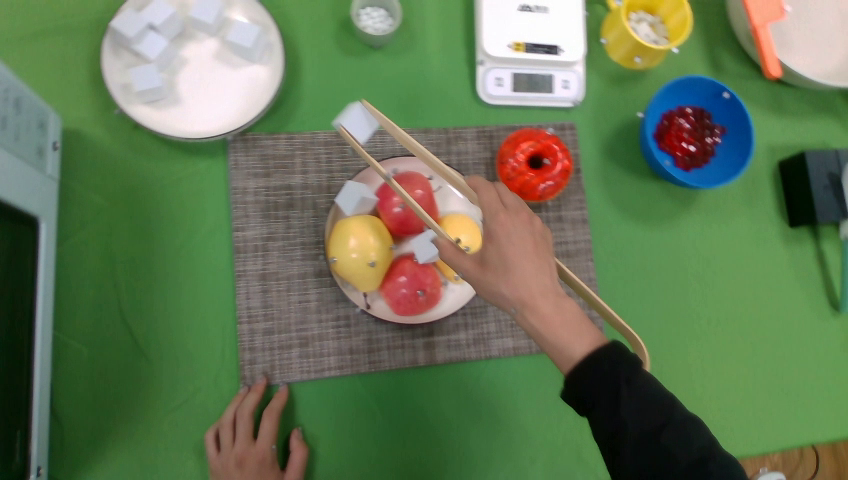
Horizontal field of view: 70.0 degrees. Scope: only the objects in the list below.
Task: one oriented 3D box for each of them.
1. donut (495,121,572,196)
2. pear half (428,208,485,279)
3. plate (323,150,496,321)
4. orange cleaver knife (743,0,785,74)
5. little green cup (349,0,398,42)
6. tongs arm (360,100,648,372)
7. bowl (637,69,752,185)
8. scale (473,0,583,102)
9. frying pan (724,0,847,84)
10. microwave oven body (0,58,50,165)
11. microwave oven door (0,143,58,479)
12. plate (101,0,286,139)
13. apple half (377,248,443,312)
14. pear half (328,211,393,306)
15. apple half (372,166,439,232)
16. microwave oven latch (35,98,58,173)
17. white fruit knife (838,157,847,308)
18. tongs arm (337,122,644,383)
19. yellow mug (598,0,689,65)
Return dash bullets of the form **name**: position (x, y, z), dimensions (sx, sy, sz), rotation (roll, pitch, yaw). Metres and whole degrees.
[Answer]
- **donut**: position (0.139, -0.104, 0.774), dimensions (0.099, 0.048, 0.098), rotation (1, 82, -6)
- **pear half**: position (0.039, 0.003, 0.737), dimensions (0.070, 0.031, 0.087), rotation (-4, 80, 4)
- **plate**: position (-0.017, -0.005, 0.736), dimensions (0.210, 0.038, 0.208), rotation (2, 81, -10)
- **orange cleaver knife**: position (0.451, -0.326, 0.815), dimensions (0.077, 0.012, 0.210), rotation (-14, 84, -15)
- **little green cup**: position (-0.066, -0.287, 0.775), dimensions (0.062, 0.038, 0.061), rotation (2, 80, -9)
- **tongs arm**: position (0.076, -0.010, 0.609), dimensions (0.386, 0.028, 0.028), rotation (42, 72, 5)
- **bowl**: position (0.341, -0.138, 0.801), dimensions (0.152, 0.077, 0.151), rotation (1, 82, -9)
- **scale**: position (0.140, -0.286, 0.813), dimensions (0.149, 0.031, 0.200), rotation (0, 82, -9)
- **frying pan**: position (0.616, -0.271, 0.854), dimensions (0.307, 0.103, 0.485), rotation (-31, 79, -12)
- **microwave oven body**: position (-0.545, 0.047, 0.525), dimensions (0.327, 0.260, 0.440), rotation (-2, 82, -10)
- **microwave oven door**: position (-0.398, 0.084, 0.539), dimensions (0.039, 0.244, 0.354), rotation (-2, 81, -9)
- **plate**: position (-0.272, -0.218, 0.730), dimensions (0.208, 0.039, 0.207), rotation (2, 81, -9)
- **apple half**: position (-0.015, 0.047, 0.719), dimensions (0.081, 0.033, 0.081), rotation (3, 75, -10)
- **pear half**: position (-0.068, 0.021, 0.701), dimensions (0.076, 0.056, 0.109), rotation (-10, 85, -19)
- **apple half**: position (-0.022, -0.050, 0.724), dimensions (0.075, 0.053, 0.080), rotation (-17, 87, -9)
- **microwave oven latch**: position (-0.423, -0.115, 0.670), dimensions (0.030, 0.029, 0.079), rotation (0, 82, -10)
- **white fruit knife**: position (0.571, -0.008, 0.818), dimensions (0.016, 0.027, 0.207), rotation (-7, 97, -10)
- **tongs arm**: position (0.060, 0.006, 0.604), dimensions (0.050, 0.026, 0.383), rotation (-42, 83, -14)
- **yellow mug**: position (0.287, -0.311, 0.824), dimensions (0.100, 0.064, 0.130), rotation (-37, 88, -12)
